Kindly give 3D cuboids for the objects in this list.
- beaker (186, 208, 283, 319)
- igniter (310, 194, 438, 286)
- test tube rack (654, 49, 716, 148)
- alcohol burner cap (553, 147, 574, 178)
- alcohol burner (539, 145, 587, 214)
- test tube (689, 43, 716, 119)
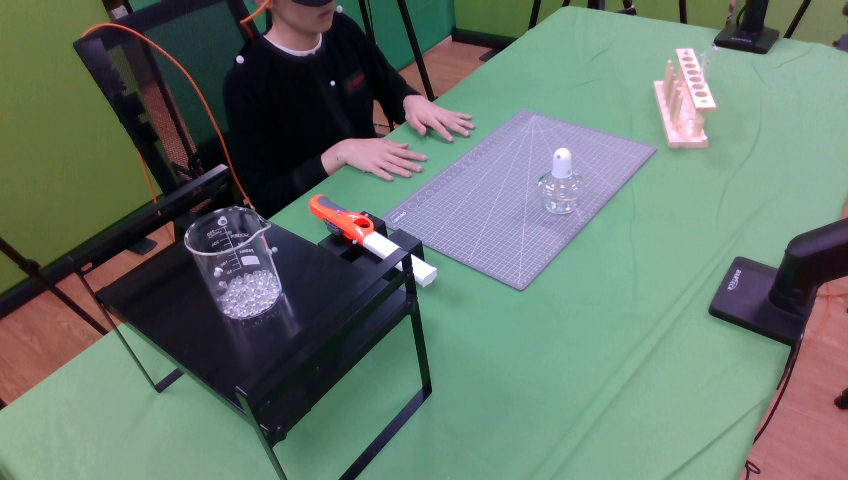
[{"bbox_3d":[-0.192,0.026,0.637,0.084,0.101,0.073,-13,41,-7],"label":"beaker"},{"bbox_3d":[-0.087,-0.007,0.921,0.274,0.025,0.057,31,51,34],"label":"igniter"},{"bbox_3d":[0.502,-0.281,1.176,0.066,0.085,0.241,1,41,11],"label":"test tube rack"},{"bbox_3d":[0.224,-0.125,0.965,0.034,0.048,0.033,-5,44,5],"label":"alcohol burner cap"},{"bbox_3d":[0.226,-0.102,0.986,0.078,0.119,0.077,-6,41,6],"label":"alcohol burner"},{"bbox_3d":[0.509,-0.287,1.107,0.017,0.151,0.017,-3,44,3],"label":"test tube"}]
